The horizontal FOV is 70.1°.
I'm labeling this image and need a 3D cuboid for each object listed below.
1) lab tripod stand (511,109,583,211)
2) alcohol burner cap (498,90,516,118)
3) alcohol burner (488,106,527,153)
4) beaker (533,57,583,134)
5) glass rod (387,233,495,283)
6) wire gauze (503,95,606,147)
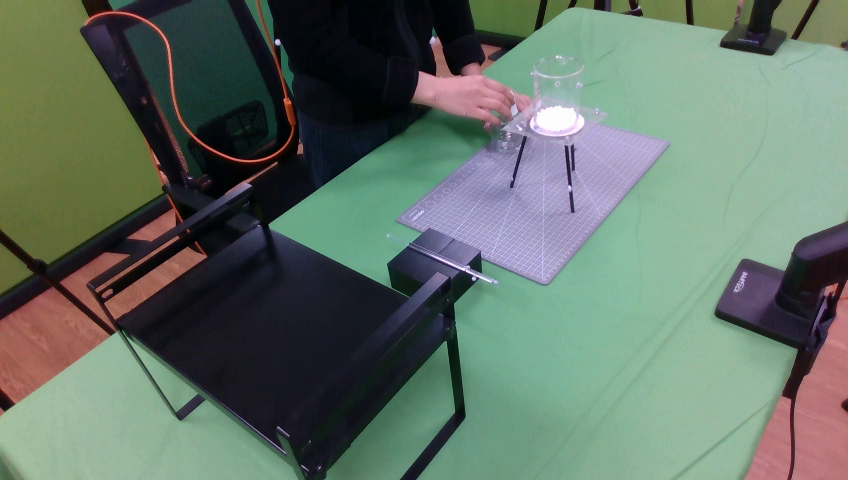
[{"bbox_3d":[0.220,-0.138,1.014,0.148,0.132,0.147,-3,41,3],"label":"lab tripod stand"},{"bbox_3d":[0.152,-0.255,1.121,0.034,0.048,0.033,-8,36,7],"label":"alcohol burner cap"},{"bbox_3d":[0.159,-0.226,1.143,0.078,0.120,0.077,-7,39,6],"label":"alcohol burner"},{"bbox_3d":[0.208,-0.225,0.941,0.073,0.101,0.084,10,44,20],"label":"beaker"},{"bbox_3d":[0.020,0.025,0.880,0.198,0.008,0.008,23,49,32],"label":"glass rod"},{"bbox_3d":[0.212,-0.191,0.976,0.120,0.011,0.125,24,52,33],"label":"wire gauze"}]
